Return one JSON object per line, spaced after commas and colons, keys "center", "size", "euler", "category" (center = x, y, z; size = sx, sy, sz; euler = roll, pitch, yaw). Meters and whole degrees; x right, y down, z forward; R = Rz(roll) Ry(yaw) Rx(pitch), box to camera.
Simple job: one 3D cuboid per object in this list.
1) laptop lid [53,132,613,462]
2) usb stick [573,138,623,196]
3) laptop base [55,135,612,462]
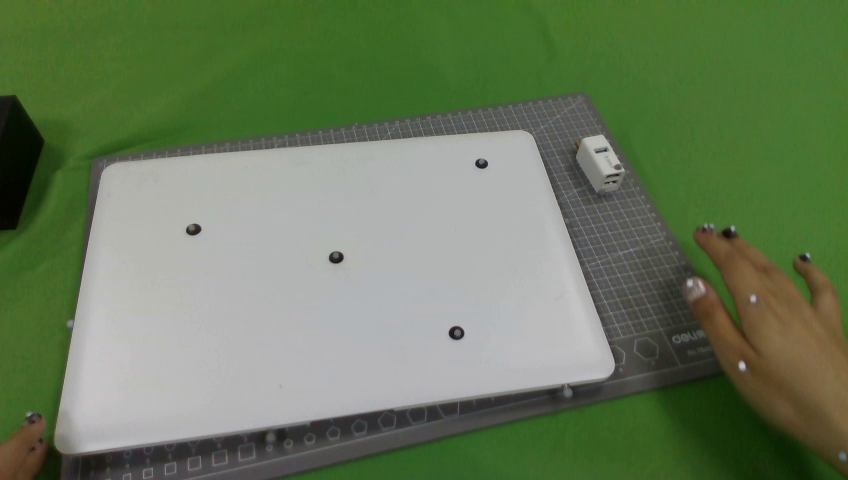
{"center": [-0.063, 0.018, 0.438], "size": [0.357, 0.013, 0.239], "euler": [-5, 56, -7], "category": "laptop lid"}
{"center": [0.146, -0.068, 0.520], "size": [0.021, 0.027, 0.058], "euler": [-12, 52, -10], "category": "usb stick"}
{"center": [-0.064, 0.023, 0.450], "size": [0.355, 0.023, 0.233], "euler": [-6, 57, -8], "category": "laptop base"}
